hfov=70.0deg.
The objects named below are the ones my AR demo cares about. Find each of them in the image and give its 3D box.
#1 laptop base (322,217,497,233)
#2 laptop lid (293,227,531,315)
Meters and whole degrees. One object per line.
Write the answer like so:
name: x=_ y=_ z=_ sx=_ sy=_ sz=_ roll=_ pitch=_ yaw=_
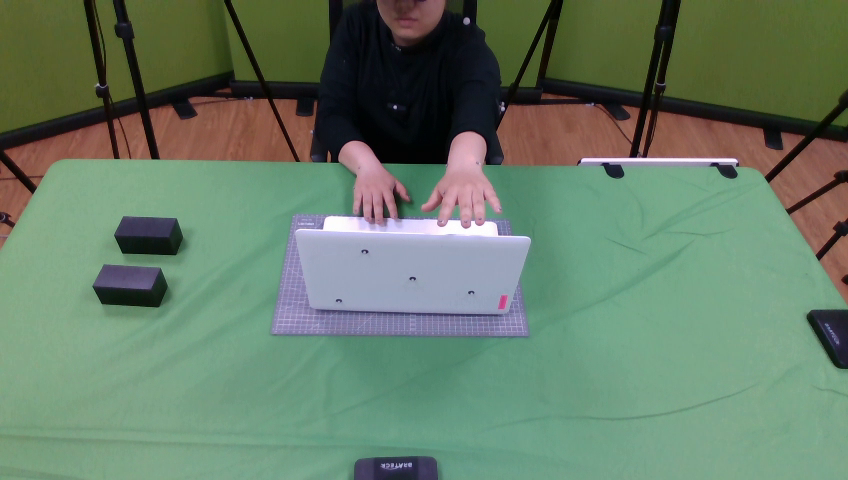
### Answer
laptop base: x=-0.028 y=0.045 z=1.154 sx=0.354 sy=0.023 sz=0.234 roll=2 pitch=43 yaw=-3
laptop lid: x=-0.021 y=0.058 z=0.975 sx=0.357 sy=0.243 sz=0.013 roll=3 pitch=53 yaw=-4
